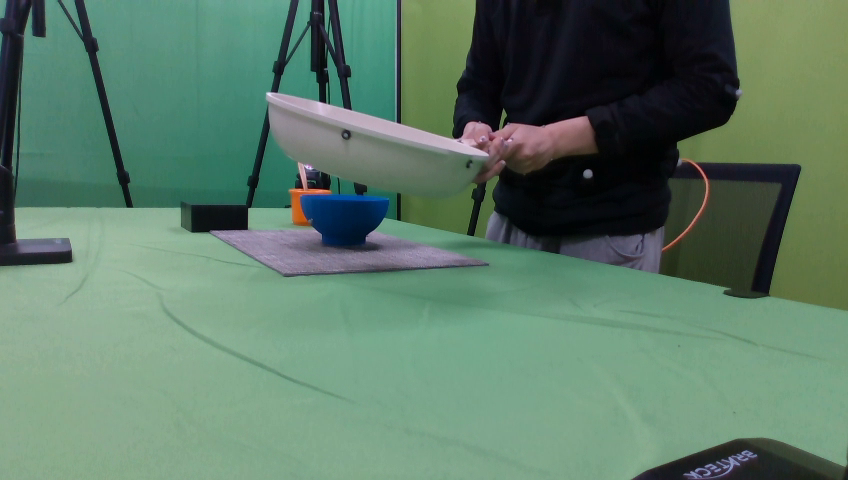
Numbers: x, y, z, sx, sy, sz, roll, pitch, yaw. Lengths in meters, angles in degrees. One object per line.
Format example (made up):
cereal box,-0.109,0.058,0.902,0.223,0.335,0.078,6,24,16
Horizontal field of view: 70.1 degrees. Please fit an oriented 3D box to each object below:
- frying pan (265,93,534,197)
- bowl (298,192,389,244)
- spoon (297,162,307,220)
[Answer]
frying pan,0.010,-0.136,0.861,0.490,0.102,0.305,-9,27,-44
bowl,-0.136,-0.037,1.018,0.151,0.077,0.151,2,7,0
spoon,-0.264,-0.114,1.338,0.042,0.193,0.021,0,-37,-21
